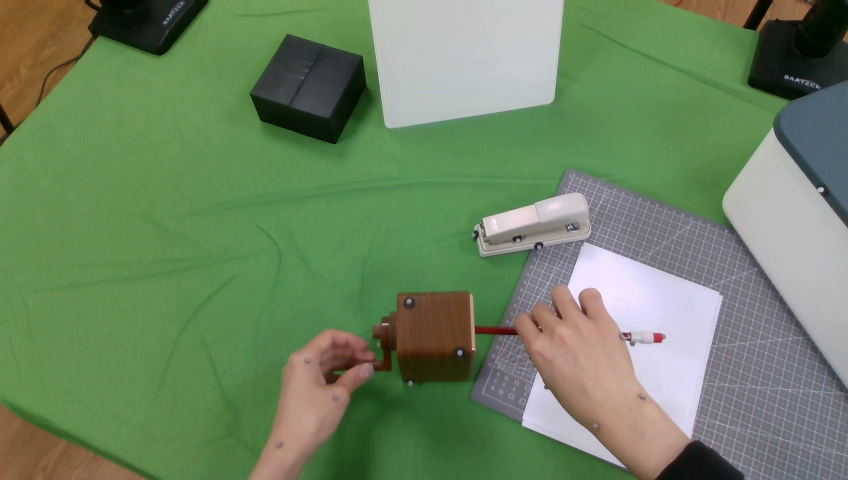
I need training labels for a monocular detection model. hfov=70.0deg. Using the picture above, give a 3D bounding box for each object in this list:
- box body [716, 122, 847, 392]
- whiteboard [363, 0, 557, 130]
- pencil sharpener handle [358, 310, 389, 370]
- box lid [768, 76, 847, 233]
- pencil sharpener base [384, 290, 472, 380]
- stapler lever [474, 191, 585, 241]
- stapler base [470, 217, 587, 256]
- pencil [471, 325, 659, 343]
[{"bbox_3d":[0.501,0.019,0.586,0.254,0.161,0.361,-21,66,-11],"label":"box body"},{"bbox_3d":[0.032,-0.309,0.696,0.217,0.308,0.142,-9,45,-4],"label":"whiteboard"},{"bbox_3d":[-0.048,0.095,0.561,0.030,0.068,0.035,-1,35,0],"label":"pencil sharpener handle"},{"bbox_3d":[0.501,-0.015,0.521,0.263,0.015,0.368,-21,67,-11],"label":"box lid"},{"bbox_3d":[0.003,0.093,0.577,0.077,0.108,0.061,-1,65,0],"label":"pencil sharpener base"},{"bbox_3d":[0.115,-0.026,0.653,0.118,0.040,0.026,-10,60,-2],"label":"stapler lever"},{"bbox_3d":[0.117,-0.015,0.675,0.130,0.024,0.041,-11,60,-2],"label":"stapler base"},{"bbox_3d":[0.115,0.084,0.552,0.194,0.012,0.012,2,64,1],"label":"pencil"}]
